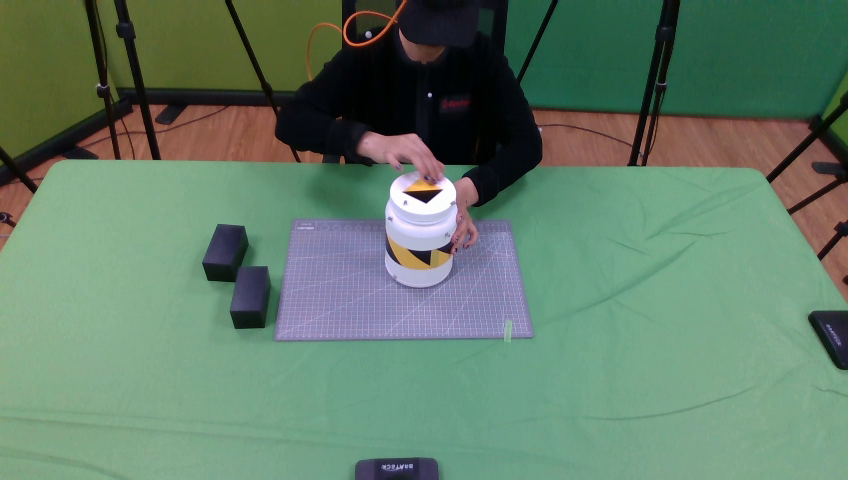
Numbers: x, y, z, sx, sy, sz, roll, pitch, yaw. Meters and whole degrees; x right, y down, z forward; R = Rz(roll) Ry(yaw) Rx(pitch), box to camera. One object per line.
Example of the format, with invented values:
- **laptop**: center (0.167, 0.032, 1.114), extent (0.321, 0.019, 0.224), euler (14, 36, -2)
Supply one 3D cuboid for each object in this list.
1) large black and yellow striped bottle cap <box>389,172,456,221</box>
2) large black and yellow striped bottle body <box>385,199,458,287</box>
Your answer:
- **large black and yellow striped bottle cap**: center (-0.002, -0.076, 1.035), extent (0.115, 0.019, 0.114), euler (2, 44, -2)
- **large black and yellow striped bottle body**: center (-0.006, -0.018, 1.097), extent (0.131, 0.185, 0.130), euler (2, 46, -2)
